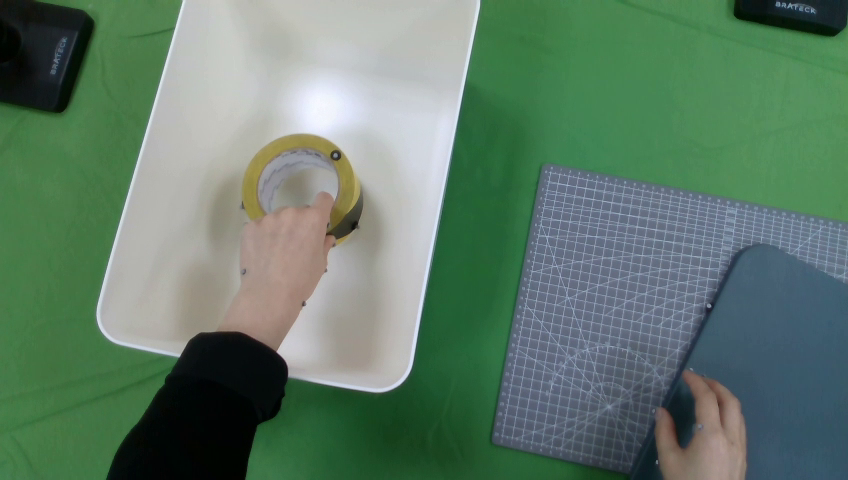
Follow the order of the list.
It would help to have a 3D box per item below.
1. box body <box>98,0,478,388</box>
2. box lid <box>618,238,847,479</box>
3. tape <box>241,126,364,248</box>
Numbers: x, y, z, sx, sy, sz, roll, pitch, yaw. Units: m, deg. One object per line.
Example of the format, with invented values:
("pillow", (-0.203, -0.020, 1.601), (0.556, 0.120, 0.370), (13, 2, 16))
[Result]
("box body", (-0.105, -0.065, 0.576), (0.254, 0.161, 0.363), (10, 81, 2))
("box lid", (0.362, 0.205, 0.603), (0.263, 0.015, 0.371), (29, 83, 5))
("tape", (-0.120, -0.050, 0.607), (0.117, 0.053, 0.116), (-1, 79, 3))
